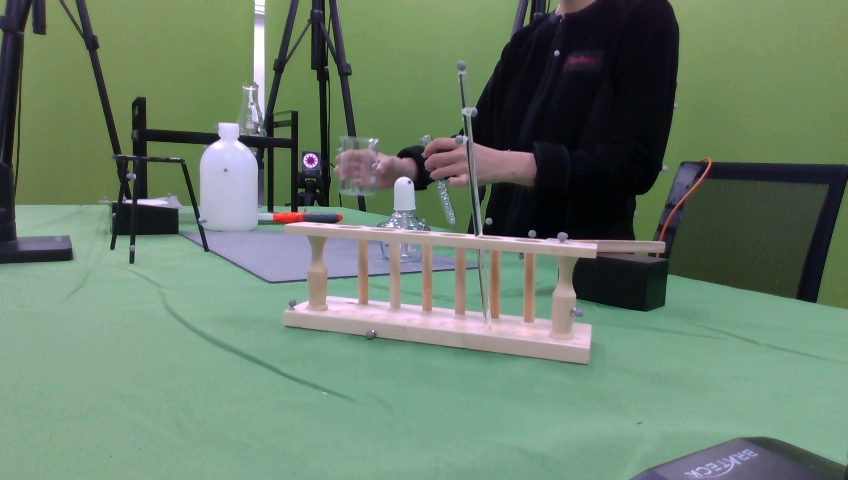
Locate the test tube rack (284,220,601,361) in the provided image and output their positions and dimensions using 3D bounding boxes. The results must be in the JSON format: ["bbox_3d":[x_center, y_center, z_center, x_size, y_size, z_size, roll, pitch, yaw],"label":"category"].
[{"bbox_3d":[0.013,0.032,0.482,0.242,0.085,0.067,4,7,16],"label":"test tube rack"}]

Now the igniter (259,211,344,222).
[{"bbox_3d":[-0.302,-0.048,1.249,0.278,0.025,0.057,-2,-2,-27],"label":"igniter"}]

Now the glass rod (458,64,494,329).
[{"bbox_3d":[0.039,-0.028,0.449,0.008,0.199,0.008,-7,9,1],"label":"glass rod"}]

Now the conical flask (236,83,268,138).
[{"bbox_3d":[-0.400,-0.298,1.396,0.075,0.122,0.075,2,8,0],"label":"conical flask"}]

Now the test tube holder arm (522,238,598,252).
[{"bbox_3d":[0.144,0.005,0.636,0.088,0.015,0.010,-1,16,-19],"label":"test tube holder arm"}]

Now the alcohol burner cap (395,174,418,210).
[{"bbox_3d":[-0.026,-0.067,0.833,0.034,0.048,0.034,-2,12,1],"label":"alcohol burner cap"}]

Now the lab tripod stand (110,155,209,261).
[{"bbox_3d":[-0.361,-0.046,0.806,0.148,0.131,0.148,2,5,0],"label":"lab tripod stand"}]

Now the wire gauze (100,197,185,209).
[{"bbox_3d":[-0.469,-0.062,1.008,0.126,0.011,0.121,-2,8,-25],"label":"wire gauze"}]

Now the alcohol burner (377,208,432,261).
[{"bbox_3d":[-0.027,-0.031,0.838,0.078,0.119,0.078,0,6,0],"label":"alcohol burner"}]

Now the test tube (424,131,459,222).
[{"bbox_3d":[0.028,-0.102,0.969,0.017,0.150,0.017,-17,4,1],"label":"test tube"}]

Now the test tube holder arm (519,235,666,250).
[{"bbox_3d":[0.185,0.002,0.656,0.179,0.015,0.013,-1,16,-19],"label":"test tube holder arm"}]

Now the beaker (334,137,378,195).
[{"bbox_3d":[-0.117,-0.131,1.071,0.083,0.100,0.074,10,12,43],"label":"beaker"}]

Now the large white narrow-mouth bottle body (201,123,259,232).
[{"bbox_3d":[-0.358,-0.116,1.116,0.102,0.194,0.102,2,8,0],"label":"large white narrow-mouth bottle body"}]

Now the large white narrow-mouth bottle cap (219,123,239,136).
[{"bbox_3d":[-0.356,-0.201,1.104,0.038,0.024,0.037,2,8,0],"label":"large white narrow-mouth bottle cap"}]
